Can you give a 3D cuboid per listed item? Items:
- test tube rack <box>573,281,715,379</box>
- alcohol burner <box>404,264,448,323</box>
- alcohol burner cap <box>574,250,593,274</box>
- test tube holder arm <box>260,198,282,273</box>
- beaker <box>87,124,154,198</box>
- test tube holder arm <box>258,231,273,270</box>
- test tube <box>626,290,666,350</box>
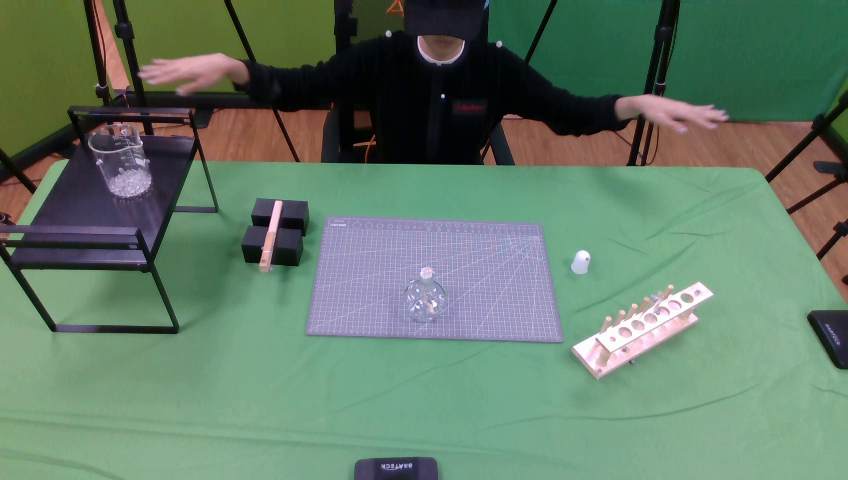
[{"bbox_3d":[0.378,0.140,1.038,0.242,0.085,0.066,-22,51,-23],"label":"test tube rack"},{"bbox_3d":[0.003,0.087,1.042,0.078,0.120,0.077,1,45,0],"label":"alcohol burner"},{"bbox_3d":[0.308,0.039,1.163,0.034,0.048,0.033,1,46,-1],"label":"alcohol burner cap"},{"bbox_3d":[-0.282,-0.012,1.121,0.015,0.013,0.177,-3,48,3],"label":"test tube holder arm"},{"bbox_3d":[-0.482,-0.124,0.978,0.084,0.101,0.073,9,46,4],"label":"beaker"},{"bbox_3d":[-0.282,0.018,1.086,0.015,0.010,0.087,-3,47,3],"label":"test tube holder arm"},{"bbox_3d":[0.355,0.132,0.975,0.017,0.151,0.017,3,46,-3],"label":"test tube"}]
